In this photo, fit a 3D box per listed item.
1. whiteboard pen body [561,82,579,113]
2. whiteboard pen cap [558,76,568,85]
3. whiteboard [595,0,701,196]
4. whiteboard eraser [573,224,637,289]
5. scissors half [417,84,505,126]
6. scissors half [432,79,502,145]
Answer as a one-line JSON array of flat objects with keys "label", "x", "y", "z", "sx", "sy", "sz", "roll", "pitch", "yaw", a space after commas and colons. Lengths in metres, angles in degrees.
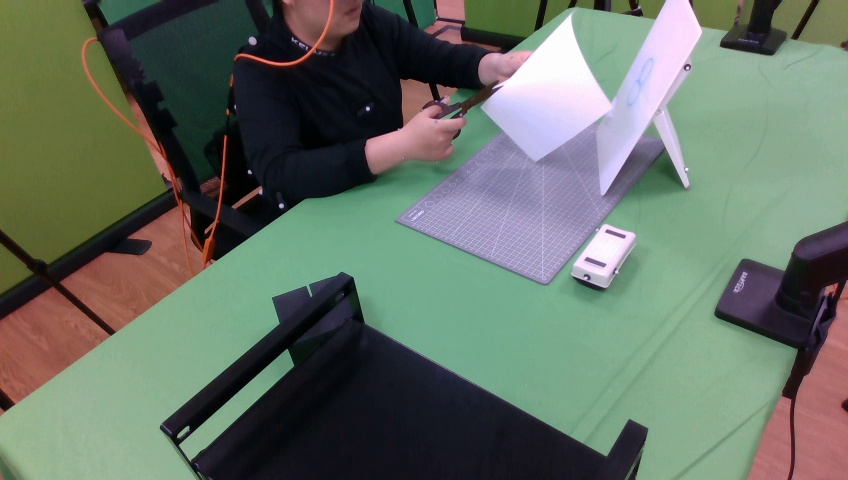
[{"label": "whiteboard pen body", "x": 0.310, "y": -0.312, "z": 1.298, "sx": 0.017, "sy": 0.017, "sz": 0.140, "roll": -6, "pitch": 42, "yaw": 2}, {"label": "whiteboard pen cap", "x": 0.310, "y": -0.350, "z": 1.341, "sx": 0.018, "sy": 0.018, "sz": 0.033, "roll": -6, "pitch": 41, "yaw": 2}, {"label": "whiteboard", "x": 0.421, "y": -0.227, "z": 1.010, "sx": 0.144, "sy": 0.305, "sz": 0.216, "roll": 18, "pitch": 42, "yaw": -2}, {"label": "whiteboard eraser", "x": 0.267, "y": 0.025, "z": 0.891, "sx": 0.055, "sy": 0.042, "sz": 0.113, "roll": 19, "pitch": 47, "yaw": 31}, {"label": "scissors half", "x": 0.065, "y": -0.246, "z": 1.082, "sx": 0.174, "sy": 0.040, "sz": 0.013, "roll": -15, "pitch": 28, "yaw": 23}, {"label": "scissors half", "x": 0.077, "y": -0.229, "z": 1.090, "sx": 0.040, "sy": 0.174, "sz": 0.013, "roll": 37, "pitch": 35, "yaw": -16}]
